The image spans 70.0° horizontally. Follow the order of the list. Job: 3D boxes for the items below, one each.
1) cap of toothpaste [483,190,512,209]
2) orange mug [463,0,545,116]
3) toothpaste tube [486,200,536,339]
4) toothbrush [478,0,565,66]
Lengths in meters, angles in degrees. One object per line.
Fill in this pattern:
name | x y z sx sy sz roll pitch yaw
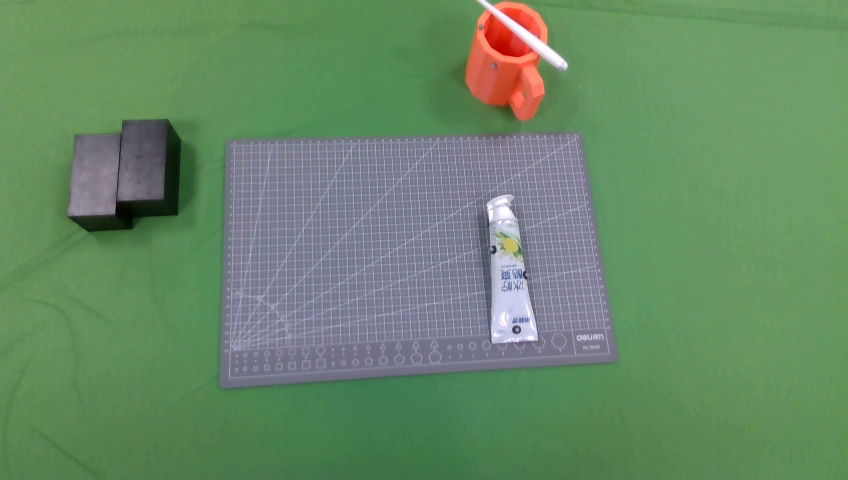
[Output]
cap of toothpaste | 0.089 -0.048 0.731 0.037 0.037 0.011 -15 72 -10
orange mug | 0.106 -0.222 0.757 0.083 0.101 0.125 -24 72 -11
toothpaste tube | 0.095 0.032 0.714 0.055 0.034 0.164 -6 78 1
toothbrush | 0.095 -0.265 0.714 0.181 0.017 0.014 41 71 7
